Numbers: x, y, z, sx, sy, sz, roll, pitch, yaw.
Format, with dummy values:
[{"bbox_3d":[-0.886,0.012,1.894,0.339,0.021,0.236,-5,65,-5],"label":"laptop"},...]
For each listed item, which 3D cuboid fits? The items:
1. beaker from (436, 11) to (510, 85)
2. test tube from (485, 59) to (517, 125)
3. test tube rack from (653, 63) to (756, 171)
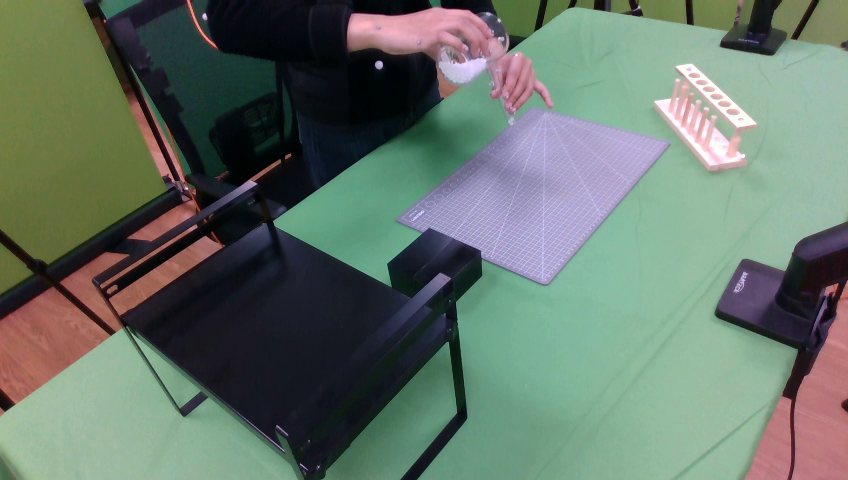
[{"bbox_3d":[0.071,-0.281,0.902,0.073,0.084,0.100,24,52,30],"label":"beaker"},{"bbox_3d":[0.130,-0.244,1.011,0.017,0.151,0.017,-12,56,18],"label":"test tube"},{"bbox_3d":[0.510,-0.233,1.120,0.067,0.085,0.241,-9,41,-1],"label":"test tube rack"}]
